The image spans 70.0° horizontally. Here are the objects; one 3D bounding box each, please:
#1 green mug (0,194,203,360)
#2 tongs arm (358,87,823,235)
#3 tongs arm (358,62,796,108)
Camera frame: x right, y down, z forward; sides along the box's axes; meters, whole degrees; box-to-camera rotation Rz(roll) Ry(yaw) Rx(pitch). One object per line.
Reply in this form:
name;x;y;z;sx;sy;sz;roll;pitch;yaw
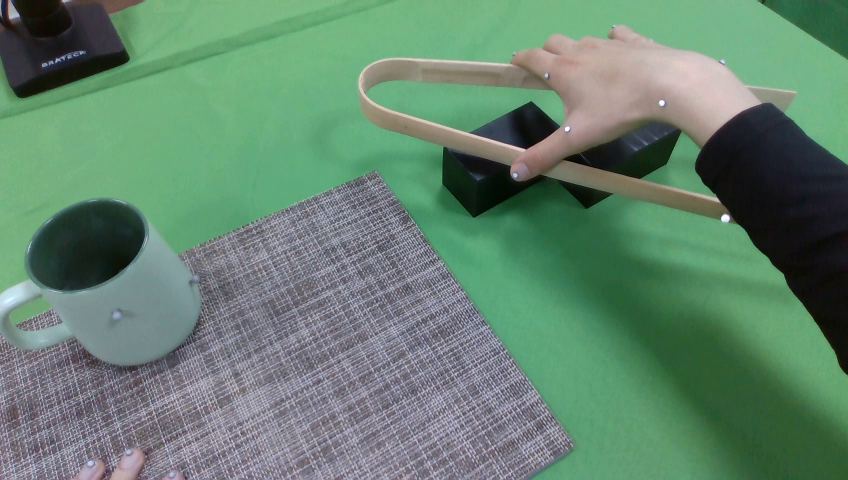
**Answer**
green mug;-0.234;0.036;0.435;0.125;0.106;0.091;-27;60;-17
tongs arm;0.123;-0.064;0.500;0.387;0.028;0.028;16;65;8
tongs arm;0.136;-0.129;0.540;0.385;0.027;0.050;5;61;2
